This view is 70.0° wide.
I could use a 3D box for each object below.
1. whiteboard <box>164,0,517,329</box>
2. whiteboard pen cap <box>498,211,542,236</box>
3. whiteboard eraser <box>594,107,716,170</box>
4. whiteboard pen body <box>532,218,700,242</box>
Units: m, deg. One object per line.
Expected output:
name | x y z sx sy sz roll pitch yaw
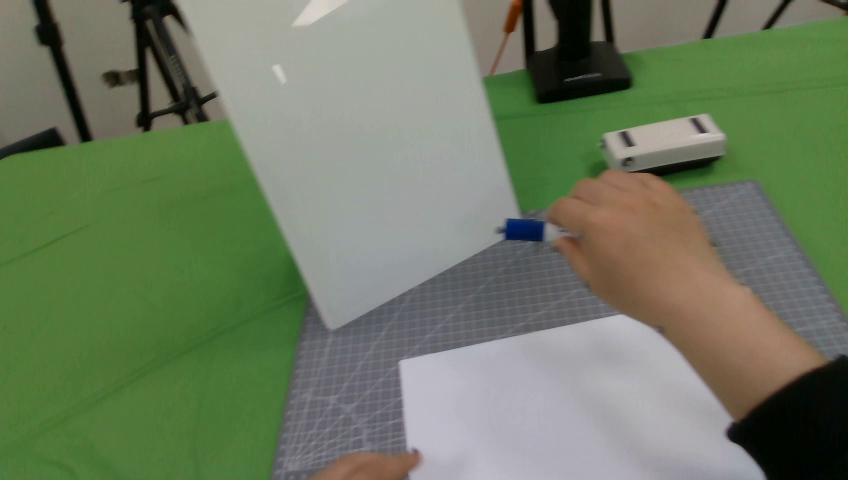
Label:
whiteboard | -0.073 -0.115 0.577 0.217 0.308 0.142 -28 23 -15
whiteboard pen cap | 0.074 -0.013 0.466 0.033 0.018 0.018 5 45 9
whiteboard eraser | 0.241 -0.104 0.637 0.112 0.042 0.055 -10 44 3
whiteboard pen body | 0.131 -0.008 0.455 0.140 0.017 0.017 2 44 12
